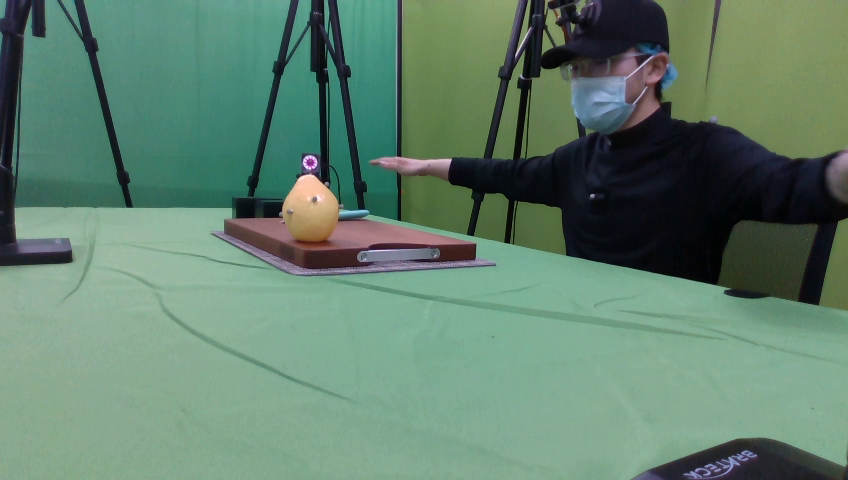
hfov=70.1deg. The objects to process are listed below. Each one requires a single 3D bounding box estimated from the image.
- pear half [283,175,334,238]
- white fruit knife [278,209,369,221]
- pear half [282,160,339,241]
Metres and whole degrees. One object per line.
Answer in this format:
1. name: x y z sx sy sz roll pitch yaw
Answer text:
1. pear half: -0.164 -0.047 0.847 0.071 0.088 0.031 -9 12 -22
2. white fruit knife: -0.182 -0.044 1.104 0.027 0.016 0.208 -9 -1 39
3. pear half: -0.151 -0.052 0.812 0.077 0.110 0.055 -5 10 -22
